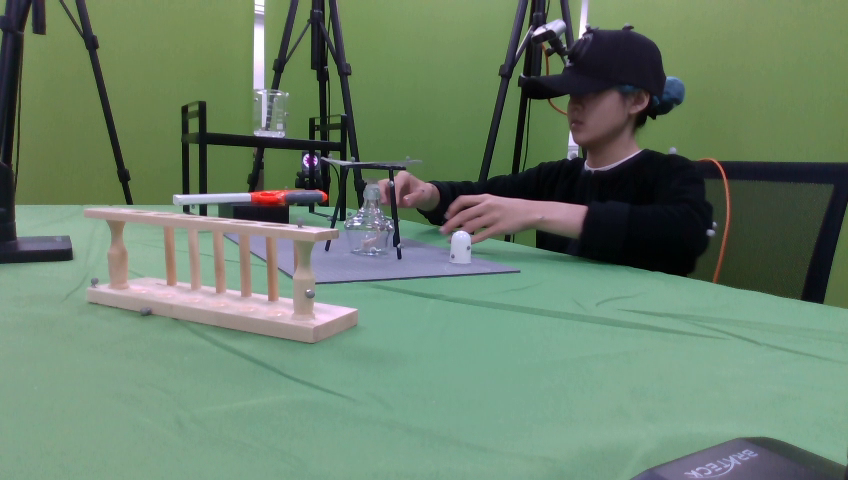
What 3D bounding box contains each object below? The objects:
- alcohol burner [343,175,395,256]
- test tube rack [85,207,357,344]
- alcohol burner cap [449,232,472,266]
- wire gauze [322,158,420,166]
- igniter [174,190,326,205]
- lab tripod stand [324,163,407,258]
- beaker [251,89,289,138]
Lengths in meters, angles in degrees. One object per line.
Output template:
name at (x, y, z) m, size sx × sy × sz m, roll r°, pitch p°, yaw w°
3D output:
alcohol burner at (-0.079, -0.036, 0.890) m, size 0.078 × 0.119 × 0.078 m, roll 5°, pitch 7°, yaw 0°
test tube rack at (-0.177, 0.022, 0.518) m, size 0.241 × 0.085 × 0.067 m, roll 6°, pitch 7°, yaw 23°
alcohol burner cap at (0.052, 0.012, 0.843) m, size 0.034 × 0.048 × 0.034 m, roll 2°, pitch 6°, yaw 0°
wire gauze at (-0.079, -0.114, 0.893) m, size 0.122 × 0.011 × 0.124 m, roll -1°, pitch 6°, yaw -25°
igniter at (-0.317, -0.079, 1.132) m, size 0.278 × 0.025 × 0.057 m, roll -4°, pitch 12°, yaw -32°
lab tripod stand at (-0.073, -0.047, 0.900) m, size 0.148 × 0.131 × 0.148 m, roll 2°, pitch 5°, yaw 0°
beaker at (-0.334, -0.273, 1.316) m, size 0.084 × 0.100 × 0.074 m, roll 6°, pitch 8°, yaw 15°
